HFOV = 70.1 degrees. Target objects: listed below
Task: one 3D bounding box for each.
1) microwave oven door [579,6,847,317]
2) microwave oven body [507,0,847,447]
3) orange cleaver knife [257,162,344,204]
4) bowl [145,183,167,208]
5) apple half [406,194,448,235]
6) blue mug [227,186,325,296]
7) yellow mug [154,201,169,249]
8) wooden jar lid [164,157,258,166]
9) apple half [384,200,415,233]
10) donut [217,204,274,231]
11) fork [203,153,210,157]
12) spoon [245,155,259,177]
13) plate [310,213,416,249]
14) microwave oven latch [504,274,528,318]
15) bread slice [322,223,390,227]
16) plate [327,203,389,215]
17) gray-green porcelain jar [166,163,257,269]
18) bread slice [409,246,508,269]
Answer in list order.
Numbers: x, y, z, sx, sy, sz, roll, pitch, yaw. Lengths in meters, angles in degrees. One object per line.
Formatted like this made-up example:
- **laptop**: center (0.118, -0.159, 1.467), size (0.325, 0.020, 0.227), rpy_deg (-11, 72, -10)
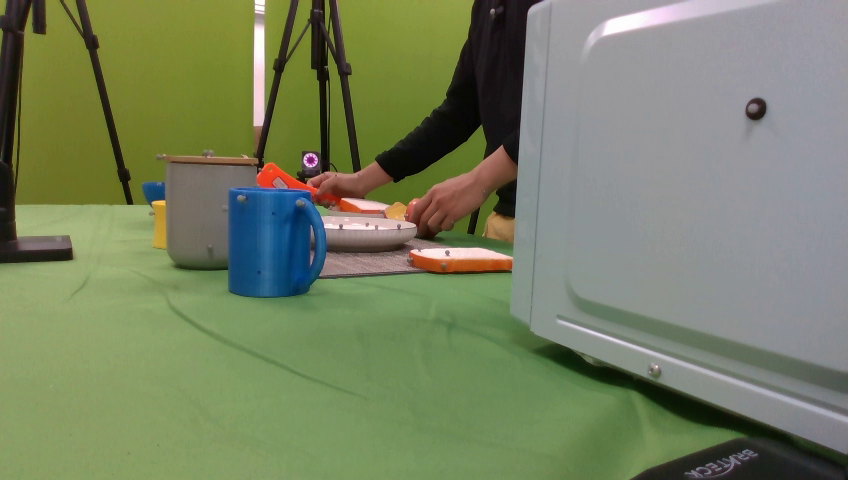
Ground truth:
- **microwave oven door**: center (0.294, -0.067, 0.570), size (0.358, 0.243, 0.039), rpy_deg (-3, 9, -31)
- **microwave oven body**: center (0.331, -0.042, 0.425), size (0.444, 0.260, 0.324), rpy_deg (-2, 8, -31)
- **orange cleaver knife**: center (-0.274, -0.105, 1.336), size (0.212, 0.077, 0.012), rpy_deg (22, -2, -36)
- **bowl**: center (-0.459, -0.068, 1.175), size (0.151, 0.077, 0.151), rpy_deg (3, 7, 0)
- **apple half**: center (0.012, -0.045, 1.138), size (0.081, 0.074, 0.053), rpy_deg (-4, 24, -41)
- **blue mug**: center (-0.146, 0.000, 0.618), size (0.116, 0.106, 0.083), rpy_deg (7, 9, 32)
- **yellow mug**: center (-0.337, -0.022, 0.899), size (0.130, 0.064, 0.100), rpy_deg (8, 9, 34)
- **wooden jar lid**: center (-0.261, -0.093, 0.746), size (0.108, 0.020, 0.108), rpy_deg (0, 9, 0)
- **apple half**: center (-0.047, -0.037, 1.175), size (0.082, 0.081, 0.032), rpy_deg (-7, -28, -50)
- **donut**: center (-0.318, -0.038, 1.080), size (0.099, 0.048, 0.099), rpy_deg (3, 7, 0)
- **fork**: center (-0.480, -0.135, 1.411), size (0.028, 0.018, 0.207), rpy_deg (1, -34, 0)
- **spoon**: center (-0.421, -0.150, 1.540), size (0.042, 0.021, 0.193), rpy_deg (-5, 55, -37)
- **plate**: center (-0.117, -0.014, 0.967), size (0.208, 0.039, 0.207), rpy_deg (2, 7, 0)
- **microwave oven latch**: center (0.100, 0.041, 0.471), size (0.079, 0.029, 0.030), rpy_deg (-1, 8, -28)
- **bread slice**: center (-0.116, -0.014, 0.974), size (0.135, 0.018, 0.106), rpy_deg (-6, 11, -42)
- **plate**: center (-0.102, -0.053, 1.298), size (0.209, 0.038, 0.209), rpy_deg (2, 8, 0)
- **gray-green porcelain jar**: center (-0.263, -0.031, 0.754), size (0.106, 0.126, 0.106), rpy_deg (2, 7, 0)
- **bread slice**: center (0.048, 0.022, 0.816), size (0.132, 0.019, 0.104), rpy_deg (0, 7, -24)
